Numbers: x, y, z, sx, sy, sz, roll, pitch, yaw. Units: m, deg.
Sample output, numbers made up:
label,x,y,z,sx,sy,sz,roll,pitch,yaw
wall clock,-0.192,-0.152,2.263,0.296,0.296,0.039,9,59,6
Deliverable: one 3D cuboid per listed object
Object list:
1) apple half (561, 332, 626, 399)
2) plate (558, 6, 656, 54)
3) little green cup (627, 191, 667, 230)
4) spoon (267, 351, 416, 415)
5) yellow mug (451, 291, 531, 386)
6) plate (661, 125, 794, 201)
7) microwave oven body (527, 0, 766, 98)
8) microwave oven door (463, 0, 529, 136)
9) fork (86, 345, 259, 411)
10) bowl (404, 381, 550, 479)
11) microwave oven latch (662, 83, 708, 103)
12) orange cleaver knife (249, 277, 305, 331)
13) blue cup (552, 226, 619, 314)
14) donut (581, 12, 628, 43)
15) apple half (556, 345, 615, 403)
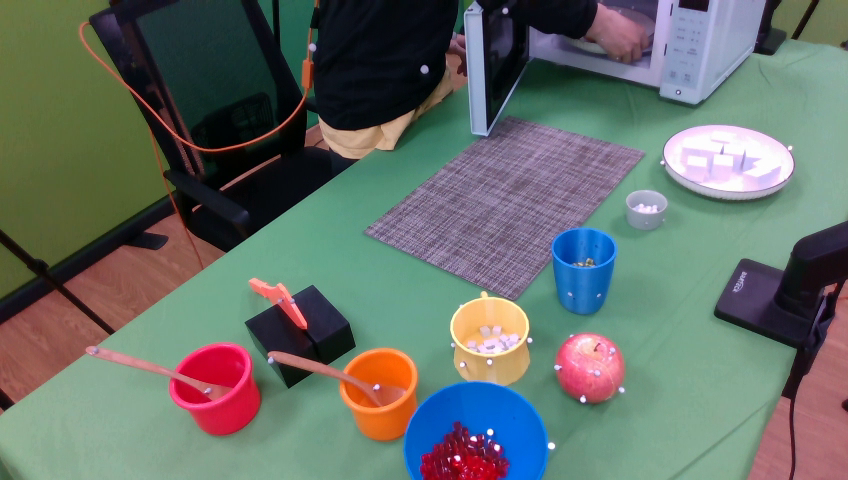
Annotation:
label,x,y,z,sx,sy,sz,roll,pitch,yaw
apple half,0.209,0.147,0.730,0.080,0.075,0.053,27,48,38
plate,0.399,-0.457,1.326,0.209,0.038,0.208,-2,41,2
little green cup,0.352,-0.046,0.963,0.061,0.039,0.061,-4,40,4
spoon,-0.091,0.162,0.699,0.021,0.195,0.041,-45,30,26
yellow mug,0.085,0.120,0.786,0.100,0.064,0.130,-7,39,1
plate,0.514,-0.128,1.035,0.207,0.039,0.206,-4,40,4
microwave oven body,0.472,-0.513,1.317,0.438,0.261,0.327,26,51,34
microwave oven door,0.156,-0.410,1.236,0.039,0.245,0.355,10,43,19
fork,-0.298,0.166,0.728,0.209,0.018,0.028,28,46,-23
bowl,0.058,0.235,0.645,0.151,0.077,0.150,-4,40,4
microwave oven latch,0.519,-0.297,1.204,0.078,0.029,0.030,29,53,36
orange cleaver knife,-0.210,0.088,0.855,0.012,0.077,0.210,-28,15,-25
blue cup,0.218,0.047,0.825,0.092,0.101,0.092,-6,40,5
donut,0.393,-0.464,1.317,0.099,0.048,0.098,-4,40,4
apple half,0.181,0.167,0.709,0.080,0.081,0.033,29,50,35
